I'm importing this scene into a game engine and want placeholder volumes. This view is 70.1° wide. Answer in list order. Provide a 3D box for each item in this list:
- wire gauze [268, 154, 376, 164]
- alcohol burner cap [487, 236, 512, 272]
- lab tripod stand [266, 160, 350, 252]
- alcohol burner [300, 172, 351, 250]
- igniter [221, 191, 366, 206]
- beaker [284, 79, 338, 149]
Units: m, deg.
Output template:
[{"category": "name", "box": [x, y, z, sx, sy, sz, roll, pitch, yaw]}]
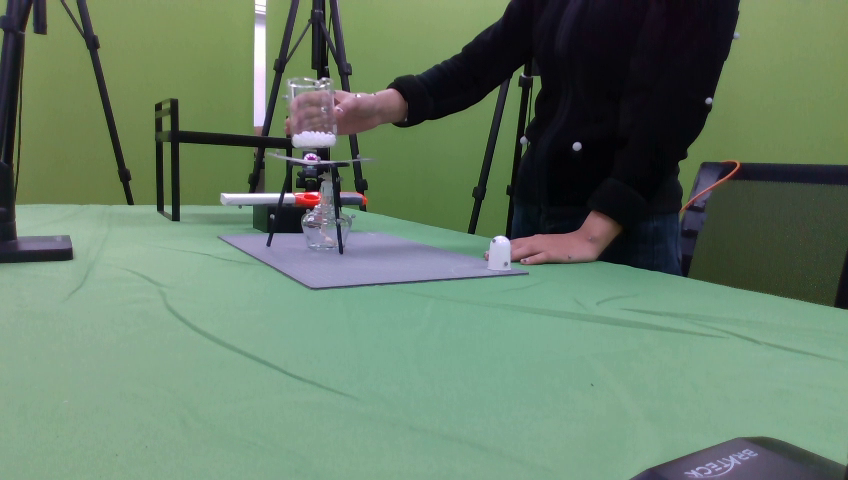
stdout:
[{"category": "wire gauze", "box": [-0.154, -0.120, 0.909, 0.122, 0.011, 0.124, -5, 11, -44]}, {"category": "alcohol burner cap", "box": [0.101, 0.019, 0.802, 0.034, 0.048, 0.034, 3, 7, 0]}, {"category": "lab tripod stand", "box": [-0.163, -0.054, 0.915, 0.148, 0.131, 0.148, 2, 9, 0]}, {"category": "alcohol burner", "box": [-0.149, -0.044, 0.921, 0.078, 0.119, 0.078, 4, 7, 0]}, {"category": "igniter", "box": [-0.240, -0.079, 1.150, 0.278, 0.025, 0.057, -3, 20, -32]}, {"category": "beaker", "box": [-0.169, -0.191, 0.924, 0.074, 0.100, 0.083, -8, 7, -28]}]
